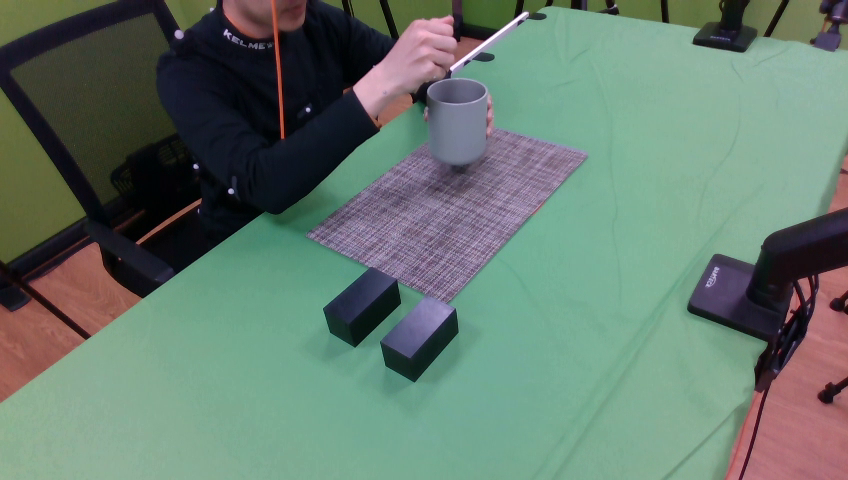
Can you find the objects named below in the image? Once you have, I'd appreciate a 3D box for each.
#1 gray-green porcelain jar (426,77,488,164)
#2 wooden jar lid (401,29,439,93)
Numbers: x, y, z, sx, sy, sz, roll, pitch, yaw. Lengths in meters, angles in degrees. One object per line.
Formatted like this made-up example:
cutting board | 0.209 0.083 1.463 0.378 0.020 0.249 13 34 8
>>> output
gray-green porcelain jar | 0.058 -0.205 1.061 0.106 0.127 0.105 -1 39 1
wooden jar lid | -0.005 -0.283 0.966 0.021 0.108 0.108 26 45 -2
